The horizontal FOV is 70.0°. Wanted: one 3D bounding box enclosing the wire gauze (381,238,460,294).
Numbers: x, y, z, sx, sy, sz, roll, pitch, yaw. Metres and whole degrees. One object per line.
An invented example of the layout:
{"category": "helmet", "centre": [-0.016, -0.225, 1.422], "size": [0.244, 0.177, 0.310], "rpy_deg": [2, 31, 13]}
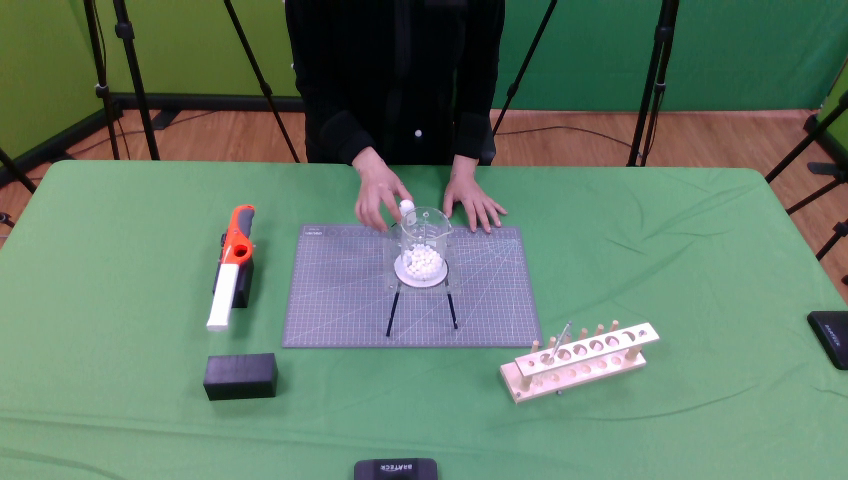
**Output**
{"category": "wire gauze", "centre": [-0.007, 0.042, 0.985], "size": [0.125, 0.011, 0.120], "rpy_deg": [-1, 43, -2]}

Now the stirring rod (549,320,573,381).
{"category": "stirring rod", "centre": [0.202, 0.167, 0.901], "size": [0.006, 0.177, 0.014], "rpy_deg": [-17, 55, -11]}

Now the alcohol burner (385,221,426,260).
{"category": "alcohol burner", "centre": [-0.035, -0.020, 1.147], "size": [0.078, 0.120, 0.077], "rpy_deg": [1, 46, -1]}

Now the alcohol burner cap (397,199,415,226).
{"category": "alcohol burner cap", "centre": [-0.034, -0.053, 1.111], "size": [0.034, 0.048, 0.033], "rpy_deg": [0, 46, 0]}

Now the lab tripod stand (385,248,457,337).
{"category": "lab tripod stand", "centre": [-0.010, 0.087, 1.032], "size": [0.148, 0.132, 0.147], "rpy_deg": [1, 45, -1]}

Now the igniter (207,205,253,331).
{"category": "igniter", "centre": [-0.339, 0.038, 1.066], "size": [0.057, 0.025, 0.274], "rpy_deg": [2, 48, -6]}

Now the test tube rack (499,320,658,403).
{"category": "test tube rack", "centre": [0.252, 0.187, 0.994], "size": [0.243, 0.085, 0.066], "rpy_deg": [-12, 48, -15]}

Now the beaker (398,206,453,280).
{"category": "beaker", "centre": [0.000, 0.008, 0.950], "size": [0.084, 0.101, 0.073], "rpy_deg": [10, 45, 6]}
